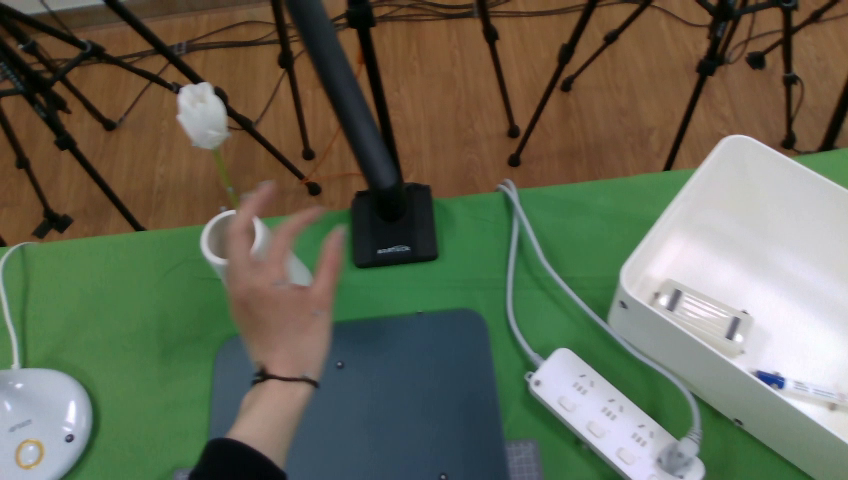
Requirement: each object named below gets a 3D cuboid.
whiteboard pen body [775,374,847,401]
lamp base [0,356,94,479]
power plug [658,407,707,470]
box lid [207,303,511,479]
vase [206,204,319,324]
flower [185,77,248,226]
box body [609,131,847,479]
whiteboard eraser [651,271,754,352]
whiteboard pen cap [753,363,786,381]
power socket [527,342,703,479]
[{"bbox_3d":[0.469,0.174,0.712,0.140,0.017,0.017,11,66,13],"label":"whiteboard pen body"},{"bbox_3d":[-0.522,0.194,0.718,0.160,0.182,0.177,-34,63,-11],"label":"lamp base"},{"bbox_3d":[0.295,0.227,0.679,0.072,0.053,0.035,-32,64,-14],"label":"power plug"},{"bbox_3d":[-0.085,0.218,0.758,0.371,0.015,0.261,-7,64,3],"label":"box lid"},{"bbox_3d":[-0.197,0.033,0.754,0.098,0.201,0.097,-2,63,4],"label":"vase"},{"bbox_3d":[-0.200,-0.019,0.686,0.043,0.365,0.038,28,54,23],"label":"flower"},{"bbox_3d":[0.426,0.085,0.686,0.361,0.162,0.254,37,73,20],"label":"box body"},{"bbox_3d":[0.342,0.088,0.751,0.112,0.042,0.055,28,72,15],"label":"whiteboard eraser"},{"bbox_3d":[0.415,0.159,0.725,0.033,0.018,0.018,13,66,13],"label":"whiteboard pen cap"},{"bbox_3d":[0.224,0.212,0.719,0.072,0.033,0.225,-43,68,-14],"label":"power socket"}]
